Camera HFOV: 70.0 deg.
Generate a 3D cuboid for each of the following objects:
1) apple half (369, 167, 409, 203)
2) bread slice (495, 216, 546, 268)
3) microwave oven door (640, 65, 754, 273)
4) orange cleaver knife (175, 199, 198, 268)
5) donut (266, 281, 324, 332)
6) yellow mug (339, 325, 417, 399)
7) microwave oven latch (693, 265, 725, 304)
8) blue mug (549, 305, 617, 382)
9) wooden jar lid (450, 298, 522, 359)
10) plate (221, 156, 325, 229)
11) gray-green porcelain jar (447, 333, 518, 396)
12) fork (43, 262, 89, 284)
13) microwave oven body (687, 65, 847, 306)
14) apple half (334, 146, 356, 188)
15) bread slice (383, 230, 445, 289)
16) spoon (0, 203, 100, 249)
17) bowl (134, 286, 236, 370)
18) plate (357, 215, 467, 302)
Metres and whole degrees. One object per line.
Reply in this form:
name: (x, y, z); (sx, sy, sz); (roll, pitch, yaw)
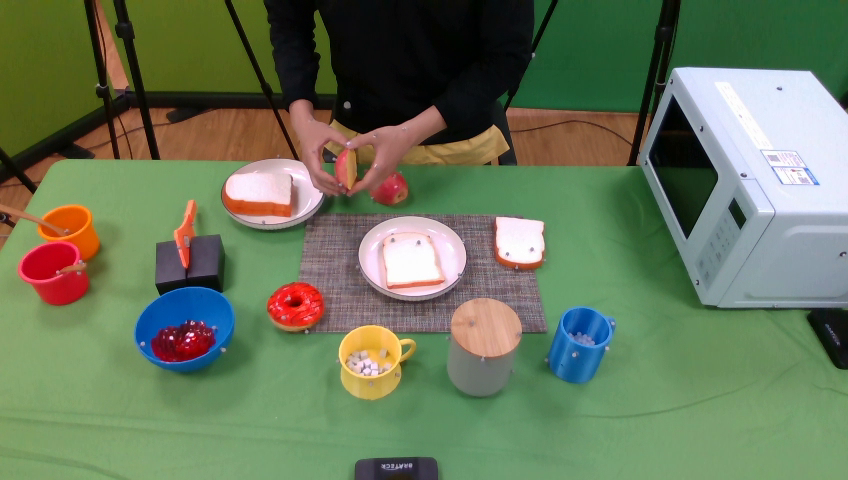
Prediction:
apple half: (-0.073, -0.122, 1.284); (0.081, 0.053, 0.074); (-27, 55, -27)
bread slice: (0.194, 0.002, 1.205); (0.105, 0.019, 0.131); (5, 45, 2)
microwave oven door: (0.523, -0.147, 1.193); (0.039, 0.245, 0.353); (0, 47, -3)
orange cleaver knife: (-0.438, -0.017, 1.138); (0.012, 0.077, 0.210); (-13, 27, -7)
donut: (-0.222, 0.115, 1.049); (0.099, 0.048, 0.098); (2, 45, -2)
yellow mug: (-0.072, 0.190, 0.978); (0.131, 0.064, 0.099); (-17, 50, -20)
microwave oven latch: (0.522, 0.081, 1.115); (0.030, 0.029, 0.078); (2, 46, -1)
blue mug: (0.269, 0.166, 0.998); (0.116, 0.106, 0.082); (-19, 51, -21)
wooden jar lid: (0.093, 0.135, 0.914); (0.108, 0.021, 0.107); (2, 48, -3)
plate: (-0.308, -0.095, 1.251); (0.209, 0.038, 0.208); (3, 47, -3)
gray-green porcelain jar: (0.091, 0.178, 0.960); (0.106, 0.127, 0.105); (2, 46, -2)
fork: (-0.599, 0.053, 1.014); (0.207, 0.019, 0.028); (-14, 30, 45)
microwave oven body: (0.669, -0.111, 1.176); (0.326, 0.261, 0.439); (0, 46, -3)
apple half: (-0.150, -0.138, 1.129); (0.033, 0.082, 0.081); (2, 46, 5)
bread slice: (-0.028, 0.035, 1.145); (0.107, 0.018, 0.133); (-7, 49, -12)
spoon: (-0.683, -0.031, 1.088); (0.195, 0.021, 0.041); (33, 33, -38)
bowl: (-0.377, 0.155, 0.981); (0.151, 0.077, 0.150); (2, 46, -2)
plate: (-0.022, 0.037, 1.141); (0.208, 0.039, 0.206); (2, 46, -2)
